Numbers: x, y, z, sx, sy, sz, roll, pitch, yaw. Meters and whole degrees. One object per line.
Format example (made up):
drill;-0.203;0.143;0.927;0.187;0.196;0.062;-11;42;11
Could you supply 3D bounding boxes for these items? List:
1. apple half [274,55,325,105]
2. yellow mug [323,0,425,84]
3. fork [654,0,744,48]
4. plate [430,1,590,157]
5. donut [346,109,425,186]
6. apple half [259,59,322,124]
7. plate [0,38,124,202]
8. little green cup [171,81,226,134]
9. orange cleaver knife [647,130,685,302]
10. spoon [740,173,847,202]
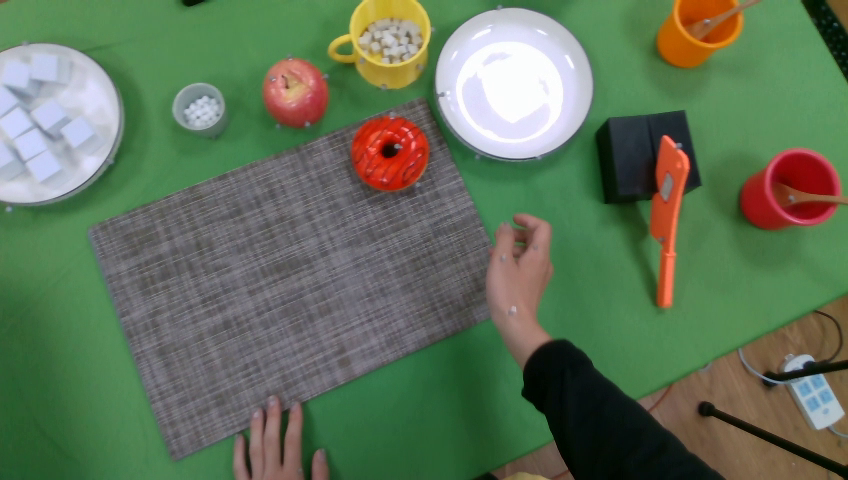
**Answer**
apple half;-0.148;-0.205;0.758;0.081;0.081;0.033;39;85;4
yellow mug;-0.064;-0.256;0.776;0.131;0.064;0.099;-13;81;-5
fork;0.395;-0.301;0.769;0.207;0.019;0.028;-22;76;37
plate;0.111;-0.207;0.792;0.209;0.038;0.208;1;80;-3
donut;-0.048;-0.116;0.760;0.099;0.048;0.098;0;82;-2
apple half;-0.172;-0.175;0.753;0.081;0.074;0.053;40;85;0
plate;-0.473;-0.145;0.746;0.208;0.039;0.207;1;80;-3
little green cup;-0.280;-0.164;0.761;0.061;0.039;0.061;1;80;-3
orange cleaver knife;0.293;-0.027;0.748;0.012;0.076;0.212;-5;113;-2
spoon;0.489;-0.056;0.737;0.192;0.022;0.041;13;70;44
